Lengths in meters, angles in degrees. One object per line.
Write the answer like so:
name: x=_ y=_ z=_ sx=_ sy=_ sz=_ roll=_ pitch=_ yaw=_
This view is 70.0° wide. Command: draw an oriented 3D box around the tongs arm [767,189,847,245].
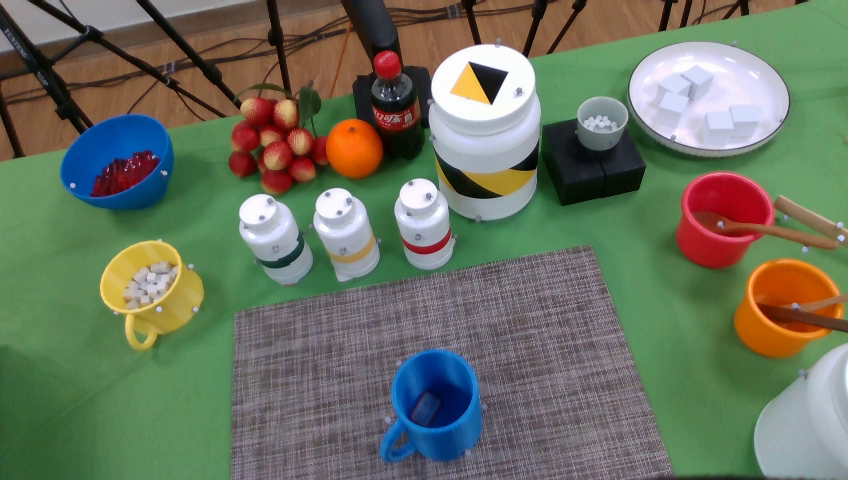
tongs arm: x=0.574 y=0.036 z=0.665 sx=0.381 sy=0.027 sz=0.050 roll=37 pitch=66 yaw=25

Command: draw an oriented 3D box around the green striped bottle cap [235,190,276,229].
green striped bottle cap: x=-0.192 y=-0.035 z=0.690 sx=0.044 sy=0.020 sz=0.044 roll=-2 pitch=57 yaw=4

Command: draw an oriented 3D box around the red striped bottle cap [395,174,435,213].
red striped bottle cap: x=-0.010 y=-0.052 z=0.679 sx=0.044 sy=0.018 sz=0.044 roll=-1 pitch=56 yaw=2

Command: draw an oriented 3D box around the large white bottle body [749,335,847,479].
large white bottle body: x=0.379 y=0.160 z=0.524 sx=0.130 sy=0.186 sz=0.129 roll=-3 pitch=58 yaw=5

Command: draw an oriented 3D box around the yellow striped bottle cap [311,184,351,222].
yellow striped bottle cap: x=-0.105 y=-0.042 z=0.684 sx=0.044 sy=0.019 sz=0.044 roll=-1 pitch=54 yaw=2

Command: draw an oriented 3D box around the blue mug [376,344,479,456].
blue mug: x=0.000 y=0.172 z=0.605 sx=0.116 sy=0.107 sz=0.081 roll=-38 pitch=61 yaw=-16

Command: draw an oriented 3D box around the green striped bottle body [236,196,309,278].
green striped bottle body: x=-0.185 y=-0.008 z=0.735 sx=0.063 sy=0.120 sz=0.062 roll=-3 pitch=58 yaw=5

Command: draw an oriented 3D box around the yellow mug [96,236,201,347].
yellow mug: x=-0.338 y=0.067 z=0.739 sx=0.100 sy=0.064 sz=0.129 roll=-2 pitch=59 yaw=5

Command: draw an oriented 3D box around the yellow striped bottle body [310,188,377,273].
yellow striped bottle body: x=-0.098 y=-0.015 z=0.728 sx=0.063 sy=0.121 sz=0.062 roll=-4 pitch=57 yaw=6

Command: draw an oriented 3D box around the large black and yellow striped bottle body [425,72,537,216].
large black and yellow striped bottle body: x=0.071 y=-0.130 z=0.741 sx=0.130 sy=0.186 sz=0.129 roll=-3 pitch=58 yaw=5

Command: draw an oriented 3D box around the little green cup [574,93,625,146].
little green cup: x=0.218 y=-0.150 z=0.761 sx=0.061 sy=0.039 sz=0.061 roll=-2 pitch=56 yaw=3

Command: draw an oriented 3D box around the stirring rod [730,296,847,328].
stirring rod: x=0.385 y=0.075 z=0.603 sx=0.014 sy=0.006 sz=0.175 roll=-33 pitch=18 yaw=-19

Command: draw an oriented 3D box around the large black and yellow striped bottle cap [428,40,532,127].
large black and yellow striped bottle cap: x=0.062 y=-0.174 z=0.668 sx=0.115 sy=0.019 sz=0.114 roll=-4 pitch=60 yaw=8

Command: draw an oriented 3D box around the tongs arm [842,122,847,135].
tongs arm: x=0.643 y=-0.015 z=0.692 sx=0.028 sy=0.028 sz=0.383 roll=-25 pitch=59 yaw=-17

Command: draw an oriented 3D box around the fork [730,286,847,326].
fork: x=0.412 y=0.055 z=0.605 sx=0.207 sy=0.019 sz=0.028 roll=-27 pitch=41 yaw=45

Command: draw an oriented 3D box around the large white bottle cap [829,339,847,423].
large white bottle cap: x=0.369 y=0.114 z=0.452 sx=0.115 sy=0.018 sz=0.114 roll=-3 pitch=57 yaw=5

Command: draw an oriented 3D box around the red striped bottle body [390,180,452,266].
red striped bottle body: x=-0.003 y=-0.024 z=0.723 sx=0.063 sy=0.121 sz=0.062 roll=-5 pitch=57 yaw=7

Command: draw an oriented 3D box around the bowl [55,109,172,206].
bowl: x=-0.416 y=-0.101 z=0.845 sx=0.151 sy=0.077 sz=0.150 roll=-3 pitch=58 yaw=5

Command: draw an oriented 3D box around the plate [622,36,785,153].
plate: x=0.377 y=-0.197 z=0.832 sx=0.209 sy=0.038 sz=0.207 roll=-3 pitch=59 yaw=5

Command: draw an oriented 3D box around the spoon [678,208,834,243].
spoon: x=0.353 y=-0.016 z=0.661 sx=0.041 sy=0.192 sz=0.022 roll=-26 pitch=104 yaw=-13
